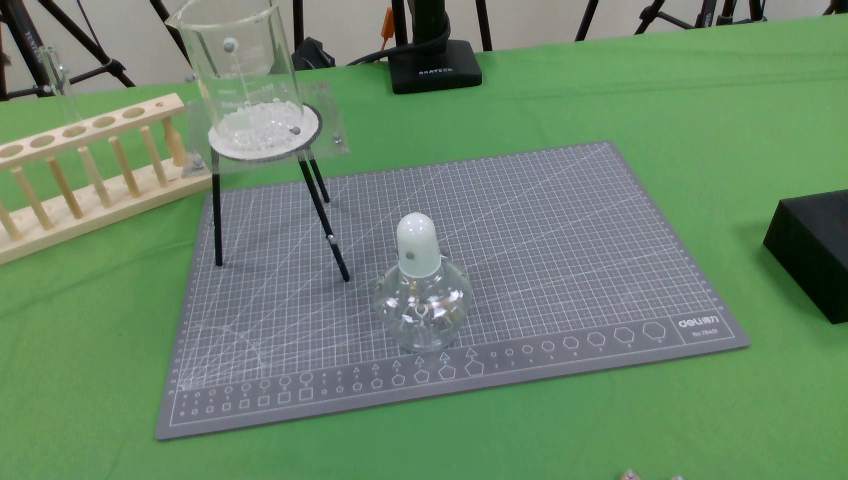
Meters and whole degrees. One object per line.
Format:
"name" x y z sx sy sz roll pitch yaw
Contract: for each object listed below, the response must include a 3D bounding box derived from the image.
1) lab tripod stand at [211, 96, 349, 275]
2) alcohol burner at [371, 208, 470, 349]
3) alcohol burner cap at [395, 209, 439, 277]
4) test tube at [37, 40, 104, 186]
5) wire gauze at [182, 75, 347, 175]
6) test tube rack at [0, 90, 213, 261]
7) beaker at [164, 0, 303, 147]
"lab tripod stand" -0.127 -0.046 0.532 0.148 0.133 0.147 -2 44 3
"alcohol burner" -0.003 0.026 0.459 0.078 0.120 0.077 -2 40 2
"alcohol burner cap" -0.007 -0.001 0.435 0.034 0.048 0.033 -3 44 3
"test tube" -0.345 -0.119 0.596 0.017 0.151 0.017 0 36 0
"wire gauze" -0.131 -0.093 0.488 0.125 0.011 0.120 -14 41 -6
"test tube rack" -0.350 -0.065 0.611 0.243 0.086 0.066 -25 46 -21
"beaker" -0.136 -0.127 0.452 0.084 0.101 0.073 -6 42 -1
